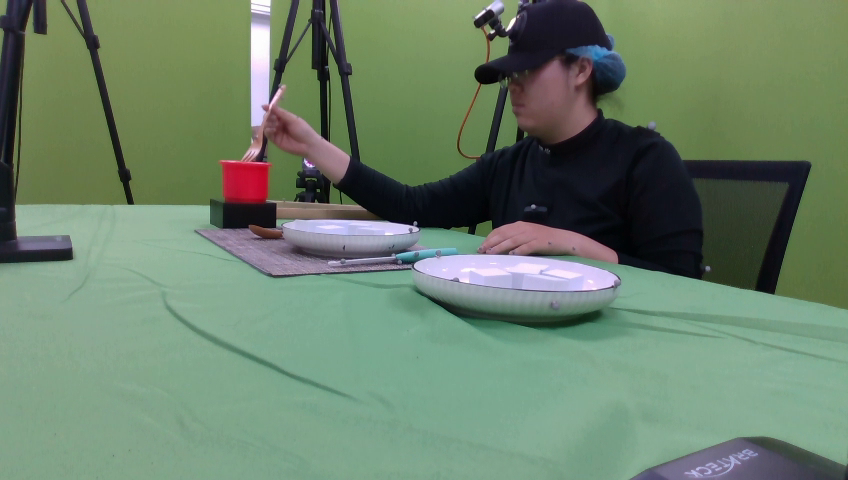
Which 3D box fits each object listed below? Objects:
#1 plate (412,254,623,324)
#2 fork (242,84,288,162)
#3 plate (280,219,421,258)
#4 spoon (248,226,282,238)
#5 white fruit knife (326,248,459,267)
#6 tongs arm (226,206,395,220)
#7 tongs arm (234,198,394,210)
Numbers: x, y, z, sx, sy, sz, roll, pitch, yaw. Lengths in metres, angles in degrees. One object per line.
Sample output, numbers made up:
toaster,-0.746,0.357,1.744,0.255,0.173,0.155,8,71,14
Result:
plate,0.090,0.047,0.609,0.209,0.038,0.209,2,7,0
fork,-0.314,-0.236,1.208,0.028,0.207,0.019,4,-28,24
plate,-0.108,-0.002,0.902,0.208,0.039,0.207,3,7,0
spoon,-0.198,-0.015,1.024,0.195,0.021,0.041,-2,-9,-30
white fruit knife,-0.034,0.026,0.807,0.208,0.016,0.027,-4,-19,-34
tongs arm,-0.247,-0.061,1.381,0.389,0.028,0.028,0,5,-21
tongs arm,-0.263,-0.076,1.460,0.386,0.026,0.050,3,8,-8
